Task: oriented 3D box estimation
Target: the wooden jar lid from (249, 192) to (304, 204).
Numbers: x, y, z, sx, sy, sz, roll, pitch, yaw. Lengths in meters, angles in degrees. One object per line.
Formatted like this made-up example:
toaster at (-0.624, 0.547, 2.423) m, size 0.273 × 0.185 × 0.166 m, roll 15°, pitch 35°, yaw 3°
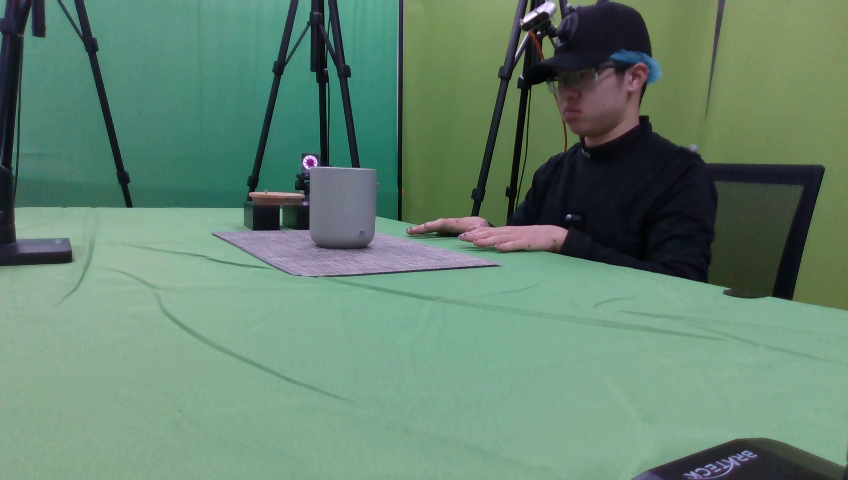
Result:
wooden jar lid at (-0.297, -0.086, 1.220) m, size 0.108 × 0.020 × 0.108 m, roll 4°, pitch 7°, yaw 0°

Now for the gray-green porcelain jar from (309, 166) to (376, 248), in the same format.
gray-green porcelain jar at (-0.130, -0.054, 0.965) m, size 0.106 × 0.126 × 0.106 m, roll 2°, pitch 7°, yaw 0°
